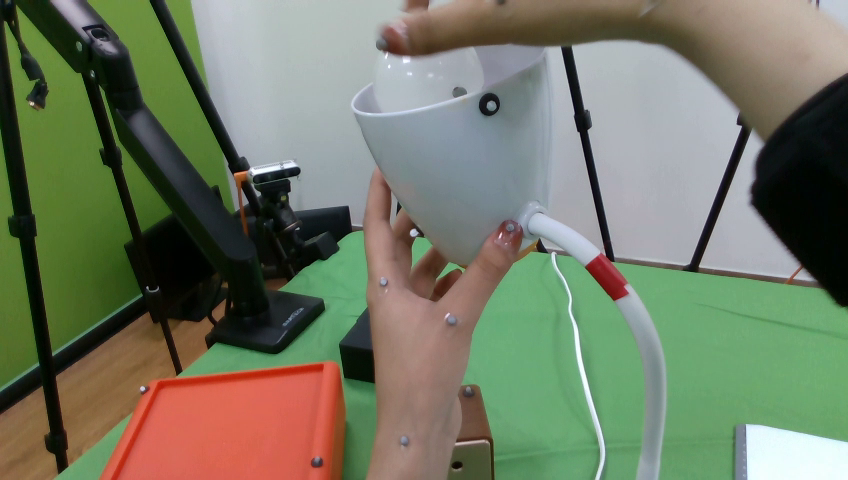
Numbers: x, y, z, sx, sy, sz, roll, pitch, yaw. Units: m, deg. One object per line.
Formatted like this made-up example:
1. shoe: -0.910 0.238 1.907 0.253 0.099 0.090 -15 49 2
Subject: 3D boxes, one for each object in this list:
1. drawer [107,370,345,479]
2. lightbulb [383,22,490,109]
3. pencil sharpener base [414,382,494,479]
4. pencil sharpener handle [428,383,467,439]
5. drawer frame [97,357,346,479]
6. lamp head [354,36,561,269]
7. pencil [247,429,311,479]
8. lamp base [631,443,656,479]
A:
1. drawer: -0.177 0.213 0.551 0.194 0.074 0.210 -6 26 -2
2. lightbulb: 0.015 -0.071 0.349 0.059 0.109 0.059 -16 36 12
3. pencil sharpener base: 0.026 0.189 0.538 0.061 0.108 0.076 -5 27 -2
4. pencil sharpener handle: 0.020 0.156 0.578 0.036 0.068 0.030 0 26 -4
5. drawer frame: -0.179 0.211 0.553 0.202 0.083 0.211 -6 26 -2
6. lamp head: 0.032 -0.044 0.352 0.112 0.124 0.111 -18 23 8
7. pencil: -0.174 0.230 0.524 0.012 0.012 0.194 22 48 42
8. lamp base: 0.141 0.228 0.360 0.161 0.181 0.177 -8 23 -5
